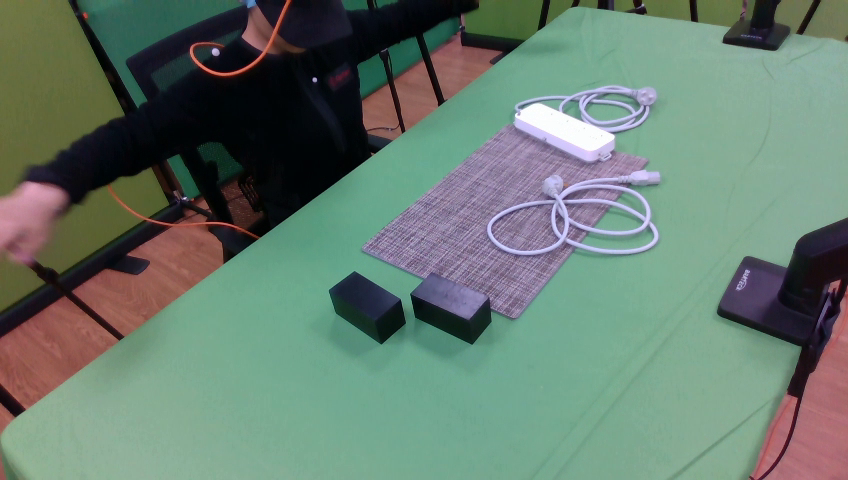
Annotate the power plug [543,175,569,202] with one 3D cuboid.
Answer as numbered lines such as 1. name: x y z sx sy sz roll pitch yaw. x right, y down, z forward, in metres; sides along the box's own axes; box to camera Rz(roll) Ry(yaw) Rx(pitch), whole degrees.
1. power plug: 0.229 -0.080 1.024 0.053 0.035 0.072 2 49 -26

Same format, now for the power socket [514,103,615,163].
1. power socket: 0.268 -0.209 1.165 0.072 0.033 0.224 -30 44 -23
